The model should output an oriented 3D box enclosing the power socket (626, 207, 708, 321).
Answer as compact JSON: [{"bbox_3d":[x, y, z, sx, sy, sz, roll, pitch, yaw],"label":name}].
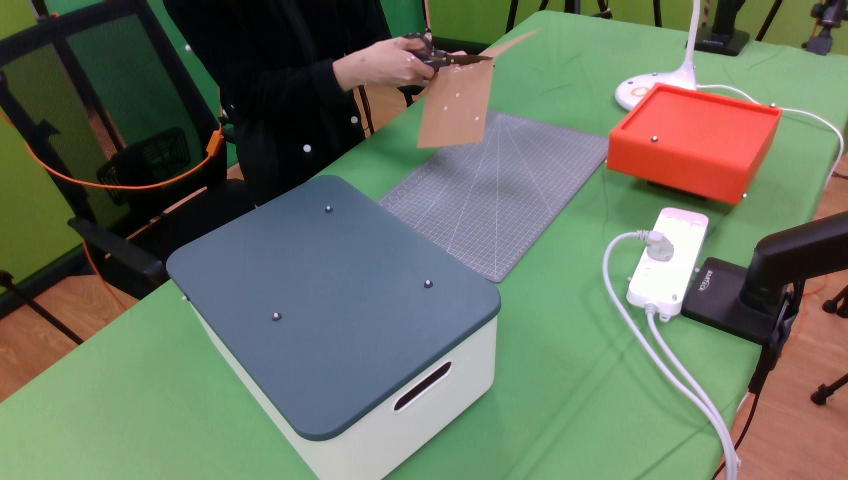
[{"bbox_3d":[0.360,0.026,0.886,0.072,0.033,0.227,16,46,26],"label":"power socket"}]

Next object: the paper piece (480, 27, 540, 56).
[{"bbox_3d":[0.111,-0.315,1.019,0.136,0.009,0.137,-36,17,-33],"label":"paper piece"}]

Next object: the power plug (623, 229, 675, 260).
[{"bbox_3d":[0.327,0.007,0.878,0.072,0.053,0.035,25,51,33],"label":"power plug"}]

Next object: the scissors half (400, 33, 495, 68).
[{"bbox_3d":[0.035,-0.301,0.975,0.174,0.040,0.013,23,59,20],"label":"scissors half"}]

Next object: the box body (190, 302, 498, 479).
[{"bbox_3d":[-0.110,0.103,0.761,0.255,0.161,0.361,-33,46,-27],"label":"box body"}]

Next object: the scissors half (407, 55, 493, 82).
[{"bbox_3d":[0.041,-0.285,0.990,0.174,0.040,0.013,2,42,43],"label":"scissors half"}]

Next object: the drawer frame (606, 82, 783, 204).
[{"bbox_3d":[0.441,-0.167,0.995,0.212,0.083,0.202,23,48,30],"label":"drawer frame"}]

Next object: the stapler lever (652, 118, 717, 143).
[{"bbox_3d":[0.436,-0.191,1.014,0.118,0.040,0.026,-16,25,-16],"label":"stapler lever"}]

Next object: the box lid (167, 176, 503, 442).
[{"bbox_3d":[-0.119,0.047,0.714,0.264,0.015,0.368,-32,47,-27],"label":"box lid"}]

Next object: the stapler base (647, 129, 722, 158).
[{"bbox_3d":[0.439,-0.167,1.023,0.131,0.024,0.041,-16,25,-15],"label":"stapler base"}]

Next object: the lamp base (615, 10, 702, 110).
[{"bbox_3d":[0.484,-0.364,1.211,0.180,0.181,0.159,-15,41,-14],"label":"lamp base"}]

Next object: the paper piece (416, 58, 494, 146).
[{"bbox_3d":[0.048,-0.217,0.965,0.134,0.004,0.135,3,80,42],"label":"paper piece"}]

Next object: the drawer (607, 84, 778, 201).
[{"bbox_3d":[0.438,-0.167,0.995,0.210,0.073,0.195,23,48,30],"label":"drawer"}]
